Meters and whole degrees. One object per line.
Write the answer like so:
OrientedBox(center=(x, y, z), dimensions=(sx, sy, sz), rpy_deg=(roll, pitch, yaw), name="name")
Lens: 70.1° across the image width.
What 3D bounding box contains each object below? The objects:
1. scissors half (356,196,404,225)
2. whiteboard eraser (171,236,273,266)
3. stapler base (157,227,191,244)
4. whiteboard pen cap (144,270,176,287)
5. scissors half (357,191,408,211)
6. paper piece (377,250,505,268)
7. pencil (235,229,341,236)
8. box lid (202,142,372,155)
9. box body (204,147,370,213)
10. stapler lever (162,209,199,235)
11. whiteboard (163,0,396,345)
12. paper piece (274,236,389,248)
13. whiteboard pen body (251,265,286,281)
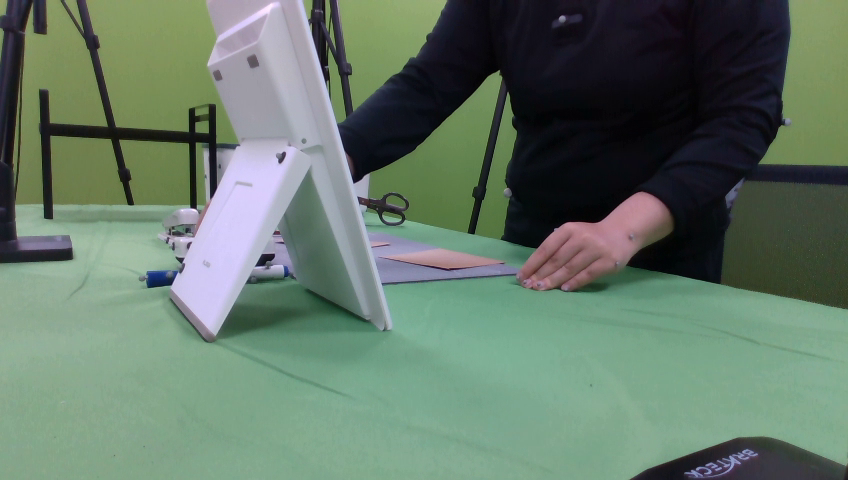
OrientedBox(center=(-0.127, -0.072, 1.321), dimensions=(0.175, 0.040, 0.013), rpy_deg=(22, 5, -5), name="scissors half")
OrientedBox(center=(-0.249, 0.014, 0.747), dimensions=(0.113, 0.042, 0.055), rpy_deg=(-1, 6, -32), name="whiteboard eraser")
OrientedBox(center=(-0.376, -0.007, 0.934), dimensions=(0.041, 0.024, 0.130), rpy_deg=(1, 5, -38), name="stapler base")
OrientedBox(center=(-0.271, 0.039, 0.627), dimensions=(0.033, 0.018, 0.018), rpy_deg=(-4, 10, -33), name="whiteboard pen cap")
OrientedBox(center=(-0.123, -0.091, 1.318), dimensions=(0.175, 0.040, 0.013), rpy_deg=(6, 12, -3), name="scissors half")
OrientedBox(center=(0.025, 0.027, 0.865), dimensions=(0.134, 0.004, 0.136), rpy_deg=(9, 8, 43), name="paper piece")
OrientedBox(center=(-0.232, -0.012, 1.053), dimensions=(0.195, 0.012, 0.012), rpy_deg=(0, 8, -36), name="pencil")
OrientedBox(center=(-0.345, -0.225, 1.509), dimensions=(0.373, 0.015, 0.262), rpy_deg=(-2, 8, -31), name="box lid")
OrientedBox(center=(-0.347, -0.152, 1.519), dimensions=(0.366, 0.160, 0.253), rpy_deg=(-2, 9, -31), name="box body")
OrientedBox(center=(-0.377, -0.031, 0.933), dimensions=(0.027, 0.040, 0.117), rpy_deg=(0, 7, -38), name="stapler lever")
OrientedBox(center=(-0.173, -0.053, 0.511), dimensions=(0.144, 0.305, 0.216), rpy_deg=(-23, 19, -26), name="whiteboard")
OrientedBox(center=(-0.151, 0.003, 0.978), dimensions=(0.135, 0.008, 0.139), rpy_deg=(13, 10, 34), name="paper piece")
OrientedBox(center=(-0.220, 0.039, 0.656), dimensions=(0.141, 0.017, 0.017), rpy_deg=(-3, 9, -30), name="whiteboard pen body")
